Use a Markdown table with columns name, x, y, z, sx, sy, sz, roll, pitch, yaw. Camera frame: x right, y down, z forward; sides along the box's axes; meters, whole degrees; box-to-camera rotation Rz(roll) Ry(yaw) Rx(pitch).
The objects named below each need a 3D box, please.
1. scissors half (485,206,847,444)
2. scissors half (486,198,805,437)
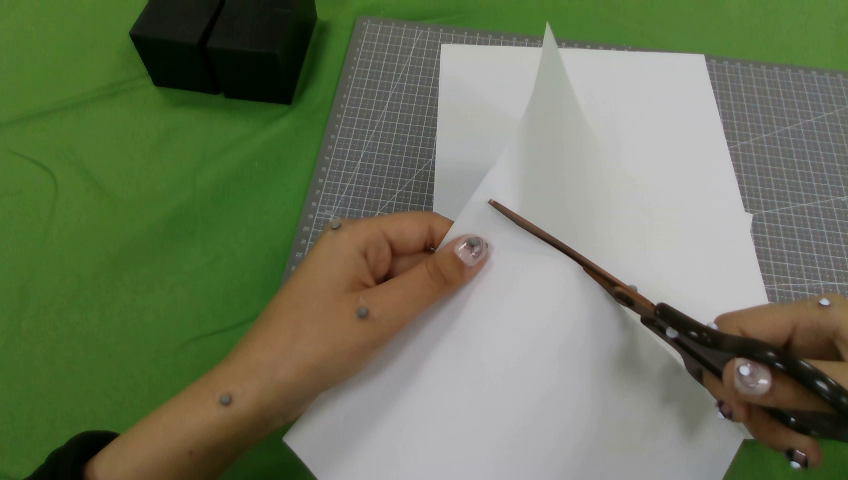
| name | x | y | z | sx | sy | sz | roll | pitch | yaw |
| --- | --- | --- | --- | --- | --- | --- | --- | --- | --- |
| scissors half | 0.097 | 0.028 | 0.256 | 0.174 | 0.040 | 0.013 | 32 | 76 | 23 |
| scissors half | 0.099 | 0.033 | 0.277 | 0.175 | 0.040 | 0.013 | 37 | 82 | -1 |
